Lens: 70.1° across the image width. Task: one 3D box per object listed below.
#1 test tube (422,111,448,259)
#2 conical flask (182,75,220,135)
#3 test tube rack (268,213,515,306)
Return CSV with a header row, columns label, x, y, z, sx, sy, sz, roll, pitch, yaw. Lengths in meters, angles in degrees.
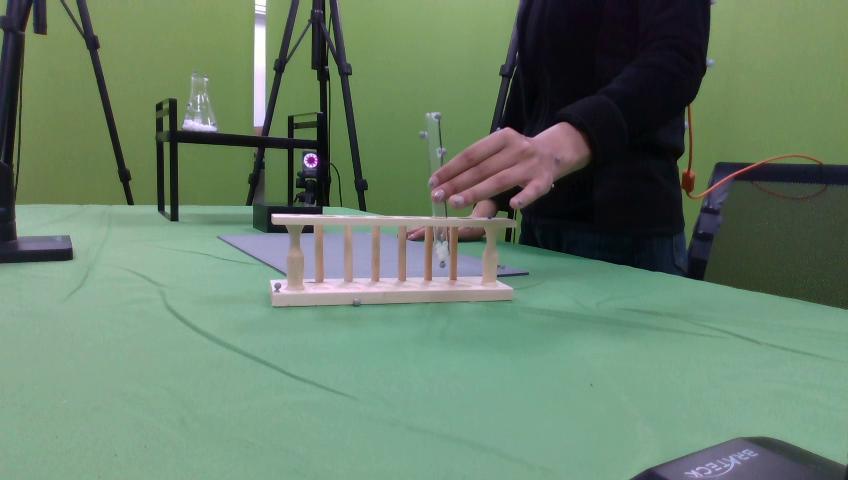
label,x,y,z,sx,sy,sz,roll,pitch,yaw
test tube,0.012,-0.055,0.611,0.017,0.150,0.017,-5,3,1
conical flask,-0.475,-0.287,1.288,0.075,0.122,0.075,2,7,0
test tube rack,-0.033,0.015,0.617,0.243,0.085,0.066,0,7,-17
